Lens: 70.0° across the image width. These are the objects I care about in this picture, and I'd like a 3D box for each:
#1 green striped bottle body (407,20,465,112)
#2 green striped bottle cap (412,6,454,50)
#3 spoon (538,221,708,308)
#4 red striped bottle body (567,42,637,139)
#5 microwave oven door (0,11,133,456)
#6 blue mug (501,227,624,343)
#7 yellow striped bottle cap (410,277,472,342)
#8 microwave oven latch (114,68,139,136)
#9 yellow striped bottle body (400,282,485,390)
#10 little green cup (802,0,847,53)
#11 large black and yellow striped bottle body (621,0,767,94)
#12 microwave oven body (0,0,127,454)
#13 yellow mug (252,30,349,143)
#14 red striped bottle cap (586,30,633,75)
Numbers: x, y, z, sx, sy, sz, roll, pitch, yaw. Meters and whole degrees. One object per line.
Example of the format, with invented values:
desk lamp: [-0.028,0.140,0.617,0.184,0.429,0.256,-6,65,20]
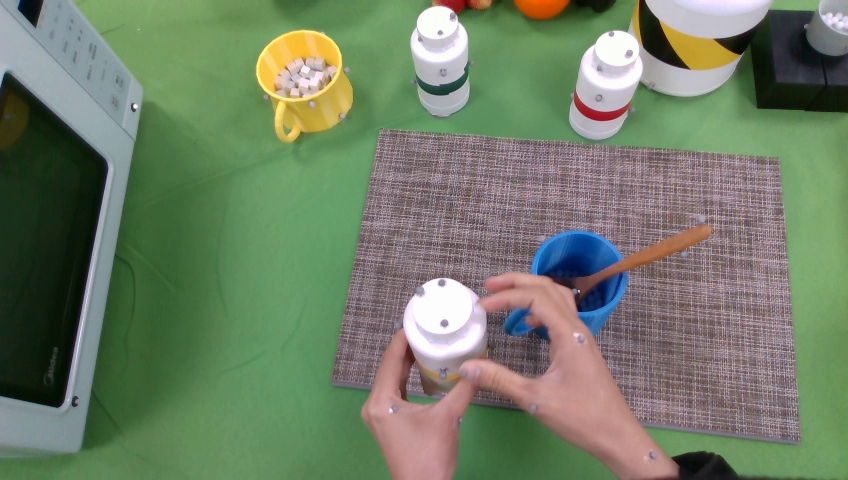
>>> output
green striped bottle body: [0.015,-0.203,0.682,0.063,0.120,0.062,-1,68,4]
green striped bottle cap: [0.009,-0.222,0.634,0.044,0.020,0.044,-2,67,4]
spoon: [0.162,0.028,0.534,0.022,0.194,0.041,7,64,-31]
red striped bottle body: [0.191,-0.167,0.652,0.063,0.120,0.062,-3,66,7]
microwave oven door: [-0.367,0.001,0.547,0.039,0.245,0.353,-4,68,4]
blue mug: [0.123,0.054,0.574,0.116,0.106,0.081,-29,68,-7]
yellow striped bottle cap: [0.012,0.049,0.432,0.044,0.019,0.044,-3,61,6]
microwave oven latch: [-0.362,-0.163,0.722,0.030,0.030,0.078,-2,69,4]
yellow striped bottle body: [0.016,0.073,0.478,0.063,0.121,0.062,-3,61,5]
little green cup: [0.440,-0.233,0.647,0.061,0.039,0.061,-1,66,2]
large black and yellow striped bottle body: [0.291,-0.260,0.647,0.131,0.185,0.130,-2,68,5]
microwave oven body: [-0.513,-0.027,0.576,0.326,0.262,0.438,-3,69,3]
yellow mug: [-0.149,-0.174,0.713,0.099,0.064,0.130,15,71,10]
red striped bottle cap: [0.186,-0.187,0.604,0.044,0.018,0.044,0,67,1]
